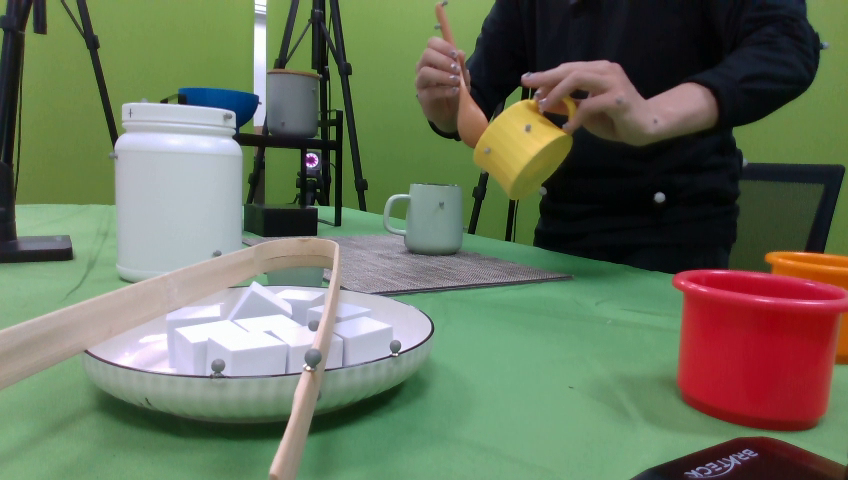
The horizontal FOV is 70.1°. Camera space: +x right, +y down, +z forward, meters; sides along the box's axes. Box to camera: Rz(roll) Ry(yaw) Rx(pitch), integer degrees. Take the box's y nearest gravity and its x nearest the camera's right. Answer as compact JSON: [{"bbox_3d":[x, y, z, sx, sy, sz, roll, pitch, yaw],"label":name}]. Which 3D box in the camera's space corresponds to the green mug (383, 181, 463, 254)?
[{"bbox_3d":[-0.001,-0.036,0.922,0.126,0.105,0.092,0,8,-16],"label":"green mug"}]

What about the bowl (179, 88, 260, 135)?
[{"bbox_3d":[-0.400,-0.248,1.188,0.151,0.077,0.151,2,6,0],"label":"bowl"}]

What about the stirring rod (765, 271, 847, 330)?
[{"bbox_3d":[0.352,0.020,0.481,0.176,0.006,0.014,-40,-8,17],"label":"stirring rod"}]

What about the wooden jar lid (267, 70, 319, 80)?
[{"bbox_3d":[-0.275,-0.339,1.271,0.108,0.020,0.108,5,6,0],"label":"wooden jar lid"}]

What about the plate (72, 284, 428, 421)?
[{"bbox_3d":[-0.102,0.067,0.381,0.208,0.039,0.207,3,7,0],"label":"plate"}]

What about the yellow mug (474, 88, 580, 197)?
[{"bbox_3d":[0.126,-0.119,0.702,0.064,0.130,0.100,49,25,19],"label":"yellow mug"}]

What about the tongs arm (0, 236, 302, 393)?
[{"bbox_3d":[-0.157,0.038,0.347,0.028,0.028,0.388,-3,8,11],"label":"tongs arm"}]

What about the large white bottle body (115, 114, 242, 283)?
[{"bbox_3d":[-0.270,-0.051,0.673,0.131,0.184,0.130,2,8,0],"label":"large white bottle body"}]

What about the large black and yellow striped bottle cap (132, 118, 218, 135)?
[{"bbox_3d":[-0.359,-0.164,0.875,0.115,0.019,0.115,2,6,0],"label":"large black and yellow striped bottle cap"}]

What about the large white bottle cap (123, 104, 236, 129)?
[{"bbox_3d":[-0.266,-0.135,0.663,0.115,0.018,0.115,3,7,0],"label":"large white bottle cap"}]

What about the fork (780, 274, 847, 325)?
[{"bbox_3d":[0.332,0.018,0.443,0.028,0.018,0.207,-3,-35,-16],"label":"fork"}]

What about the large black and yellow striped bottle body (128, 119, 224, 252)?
[{"bbox_3d":[-0.361,-0.081,0.887,0.131,0.184,0.130,2,8,0],"label":"large black and yellow striped bottle body"}]

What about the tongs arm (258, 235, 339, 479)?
[{"bbox_3d":[-0.074,0.040,0.345,0.051,0.026,0.384,-1,10,-3],"label":"tongs arm"}]

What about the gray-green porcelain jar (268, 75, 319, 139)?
[{"bbox_3d":[-0.277,-0.279,1.280,0.106,0.126,0.106,2,8,0],"label":"gray-green porcelain jar"}]

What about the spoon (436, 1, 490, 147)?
[{"bbox_3d":[0.044,-0.211,0.763,0.041,0.193,0.022,-19,-9,30],"label":"spoon"}]

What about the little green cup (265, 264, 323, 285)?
[{"bbox_3d":[-0.134,0.034,0.628,0.061,0.038,0.061,3,7,0],"label":"little green cup"}]
